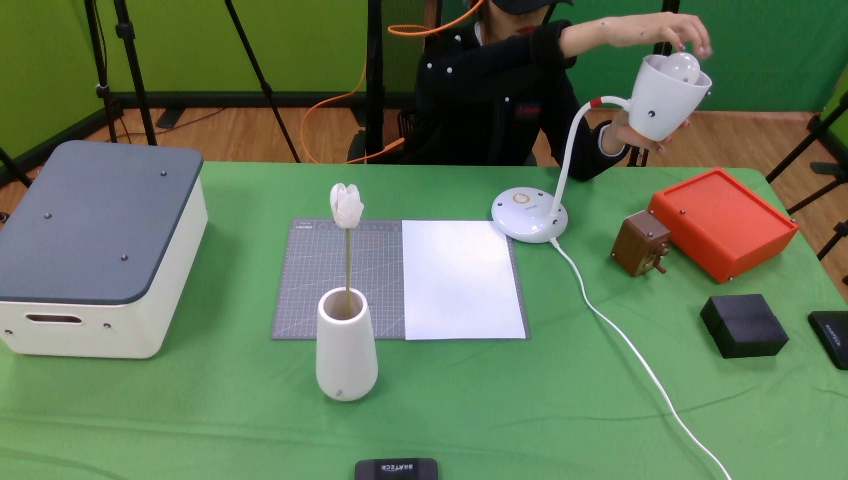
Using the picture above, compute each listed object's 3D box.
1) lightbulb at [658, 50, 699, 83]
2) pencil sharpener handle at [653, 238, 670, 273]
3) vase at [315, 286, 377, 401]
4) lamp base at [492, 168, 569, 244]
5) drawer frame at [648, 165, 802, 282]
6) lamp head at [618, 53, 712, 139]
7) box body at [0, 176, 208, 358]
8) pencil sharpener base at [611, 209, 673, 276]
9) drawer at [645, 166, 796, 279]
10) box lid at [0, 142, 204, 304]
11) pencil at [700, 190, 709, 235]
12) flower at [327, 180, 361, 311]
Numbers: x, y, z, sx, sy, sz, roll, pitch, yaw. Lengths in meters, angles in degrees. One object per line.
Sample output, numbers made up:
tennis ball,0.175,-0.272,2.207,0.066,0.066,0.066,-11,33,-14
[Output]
lightbulb,0.393,-0.248,0.965,0.059,0.108,0.059,16,31,-9
pencil sharpener handle,0.444,0.030,1.120,0.036,0.068,0.030,-25,52,-18
vase,-0.119,0.159,0.911,0.098,0.201,0.097,3,47,-2
lamp base,0.234,-0.101,1.200,0.161,0.181,0.178,-24,56,-25
drawer frame,0.603,-0.040,1.234,0.202,0.083,0.212,-21,51,-23
lamp head,0.378,-0.227,0.978,0.112,0.123,0.111,14,40,-11
box body,-0.546,0.017,1.045,0.254,0.161,0.361,2,46,-2
pencil sharpener base,0.416,0.007,1.158,0.061,0.107,0.076,-21,51,-22
drawer,0.600,-0.041,1.236,0.195,0.073,0.210,-21,51,-23
box lid,-0.534,-0.044,0.995,0.263,0.015,0.369,3,45,-3
pencil,0.583,-0.058,1.257,0.012,0.012,0.193,16,35,12
flower,-0.110,0.086,0.867,0.044,0.363,0.038,22,33,35
